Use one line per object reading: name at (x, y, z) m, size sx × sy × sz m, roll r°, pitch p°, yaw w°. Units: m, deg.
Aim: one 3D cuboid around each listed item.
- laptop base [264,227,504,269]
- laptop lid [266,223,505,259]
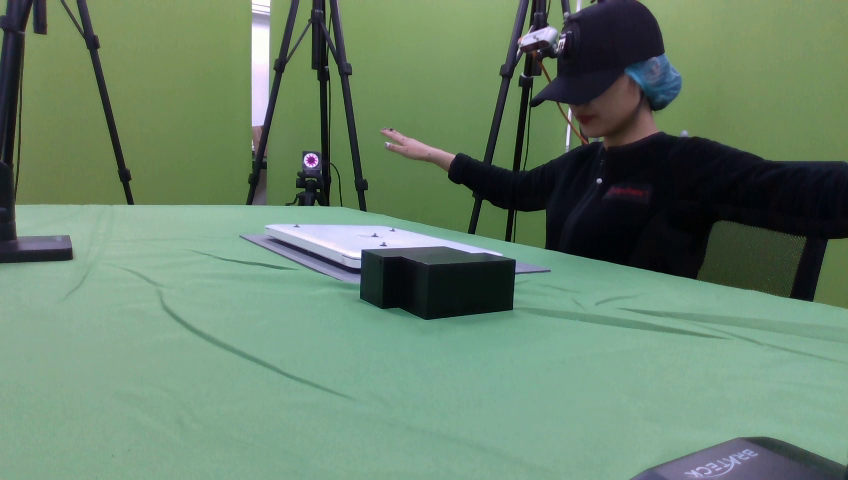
laptop base at (-0.077, 0.009, 0.914) m, size 0.237 × 0.023 × 0.352 m, roll 2°, pitch 6°, yaw -33°
laptop lid at (-0.074, -0.003, 0.914) m, size 0.243 × 0.013 × 0.355 m, roll 1°, pitch 7°, yaw -31°
